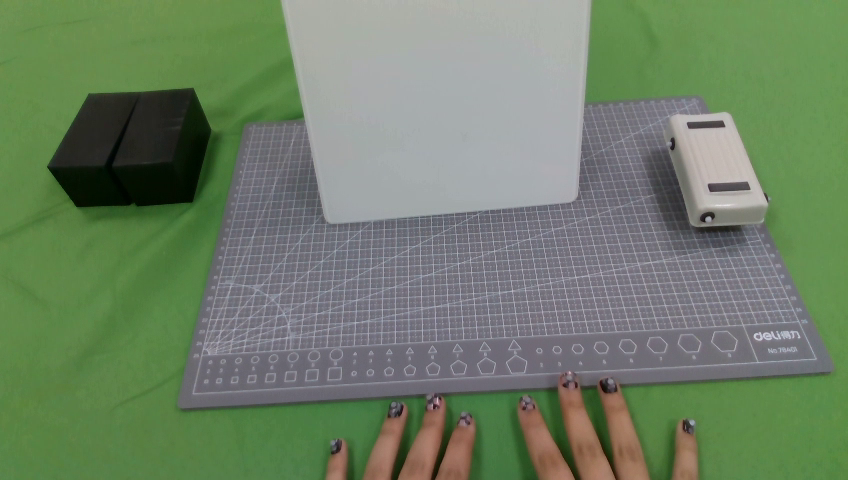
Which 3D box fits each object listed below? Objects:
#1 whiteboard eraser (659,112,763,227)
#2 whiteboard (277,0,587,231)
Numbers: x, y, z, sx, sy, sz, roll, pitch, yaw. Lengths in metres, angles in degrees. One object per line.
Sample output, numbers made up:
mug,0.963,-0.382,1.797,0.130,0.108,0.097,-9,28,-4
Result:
whiteboard eraser,0.235,-0.057,0.503,0.055,0.042,0.111,-1,51,3
whiteboard,0.007,-0.182,0.488,0.217,0.308,0.142,-5,32,1
